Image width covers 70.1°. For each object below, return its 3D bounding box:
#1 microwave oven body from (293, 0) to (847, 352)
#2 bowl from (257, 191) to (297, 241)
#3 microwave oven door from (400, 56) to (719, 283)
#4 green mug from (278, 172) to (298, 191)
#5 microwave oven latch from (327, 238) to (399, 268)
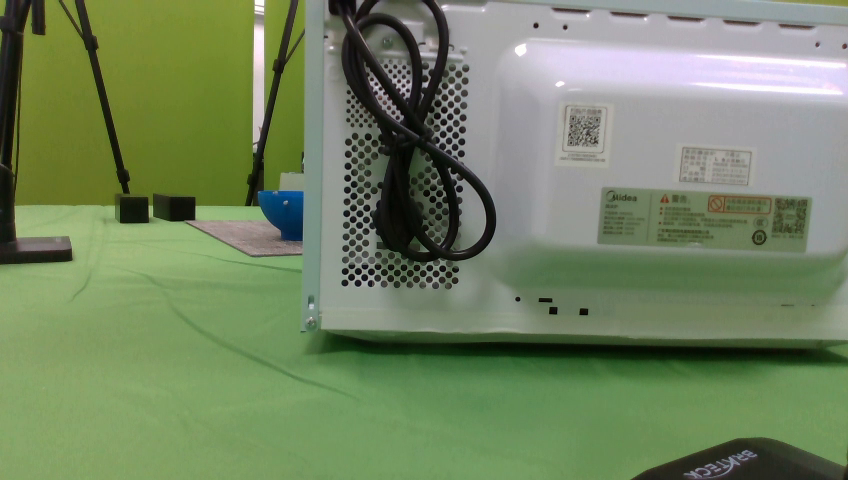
[{"bbox_3d":[0.122,-0.055,0.550,0.442,0.260,0.325,3,7,-5],"label":"microwave oven body"},{"bbox_3d":[-0.206,-0.041,1.027,0.151,0.077,0.151,3,8,0],"label":"bowl"},{"bbox_3d":[0.155,-0.078,0.697,0.356,0.243,0.039,2,8,-5],"label":"microwave oven door"},{"bbox_3d":[-0.250,-0.089,1.279,0.092,0.105,0.126,9,9,40],"label":"green mug"},{"bbox_3d":[-0.069,0.015,0.694,0.079,0.029,0.030,3,7,-3],"label":"microwave oven latch"}]
